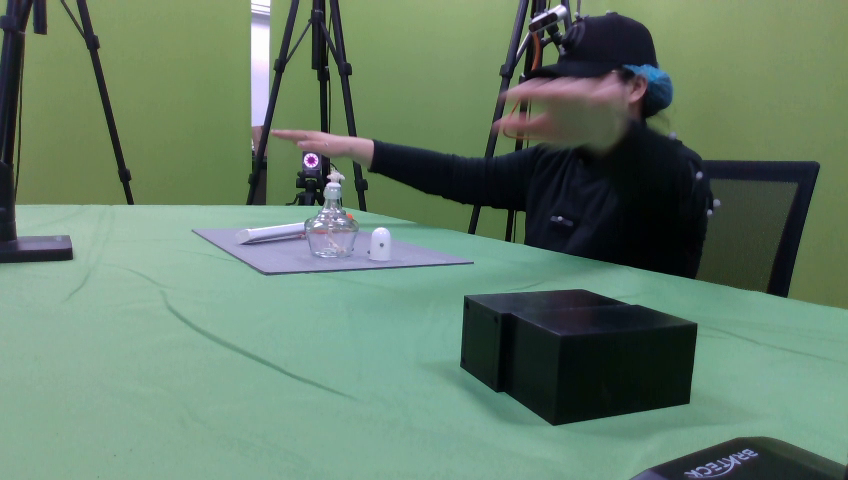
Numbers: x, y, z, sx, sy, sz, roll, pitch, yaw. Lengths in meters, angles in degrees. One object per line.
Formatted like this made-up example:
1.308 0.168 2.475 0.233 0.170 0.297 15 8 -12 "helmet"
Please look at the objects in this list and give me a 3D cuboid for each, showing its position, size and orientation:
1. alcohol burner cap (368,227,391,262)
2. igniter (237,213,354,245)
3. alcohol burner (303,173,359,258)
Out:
-0.060 0.006 0.837 0.034 0.048 0.034 3 7 0 "alcohol burner cap"
-0.206 -0.021 1.034 0.057 0.025 0.278 -19 -2 30 "igniter"
-0.130 -0.035 0.850 0.078 0.119 0.078 2 5 0 "alcohol burner"
